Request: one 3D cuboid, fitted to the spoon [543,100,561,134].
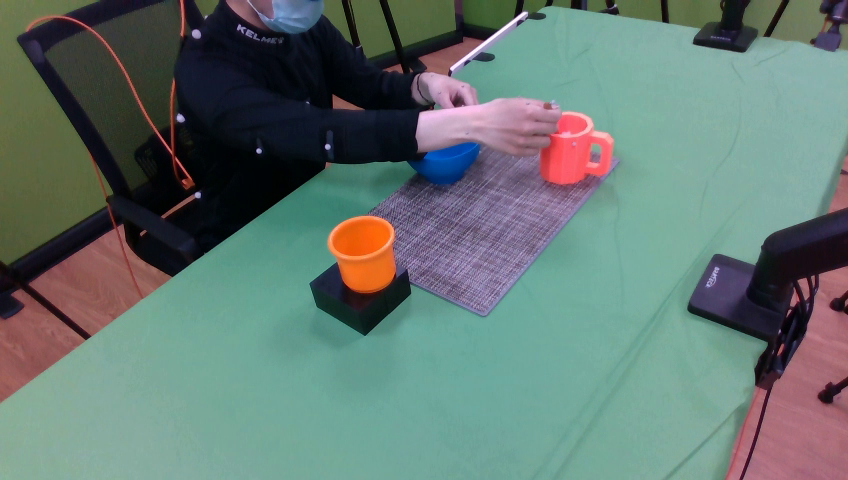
[{"bbox_3d":[0.217,-0.186,1.001,0.041,0.195,0.021,19,79,25],"label":"spoon"}]

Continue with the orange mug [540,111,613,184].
[{"bbox_3d":[0.264,-0.158,1.051,0.125,0.101,0.083,12,45,28],"label":"orange mug"}]

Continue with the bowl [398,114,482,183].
[{"bbox_3d":[0.032,-0.156,1.097,0.151,0.077,0.150,-4,41,4],"label":"bowl"}]
